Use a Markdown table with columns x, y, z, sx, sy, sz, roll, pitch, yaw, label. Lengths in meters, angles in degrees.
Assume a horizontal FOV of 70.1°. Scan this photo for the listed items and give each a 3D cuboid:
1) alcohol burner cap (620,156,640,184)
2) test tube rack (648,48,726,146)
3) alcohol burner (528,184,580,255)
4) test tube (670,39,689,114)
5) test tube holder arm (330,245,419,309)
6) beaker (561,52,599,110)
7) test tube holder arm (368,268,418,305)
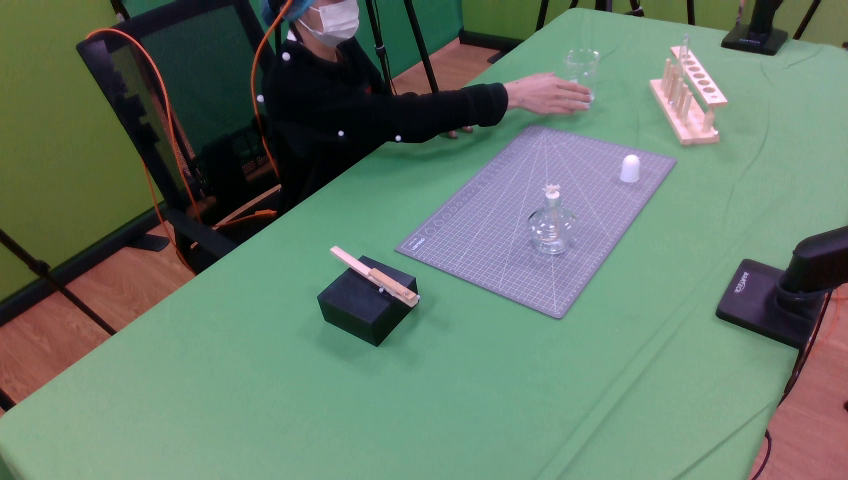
| x | y | z | sx | sy | sz | roll | pitch | yaw | label |
| --- | --- | --- | --- | --- | --- | --- | --- | --- | --- |
| 0.358 | -0.124 | 1.047 | 0.034 | 0.048 | 0.033 | -4 | 40 | 4 | alcohol burner cap |
| 0.509 | -0.285 | 1.186 | 0.067 | 0.085 | 0.241 | -4 | 40 | 6 | test tube rack |
| 0.196 | -0.035 | 0.911 | 0.078 | 0.119 | 0.077 | -6 | 41 | 5 | alcohol burner |
| 0.484 | -0.308 | 1.146 | 0.017 | 0.151 | 0.017 | -5 | 41 | 5 | test tube |
| -0.074 | 0.049 | 0.857 | 0.177 | 0.013 | 0.015 | 30 | 54 | 36 | test tube holder arm |
| 0.325 | -0.331 | 1.260 | 0.084 | 0.101 | 0.073 | -20 | 42 | -15 | beaker |
| -0.043 | 0.063 | 0.827 | 0.087 | 0.010 | 0.015 | 29 | 53 | 36 | test tube holder arm |
